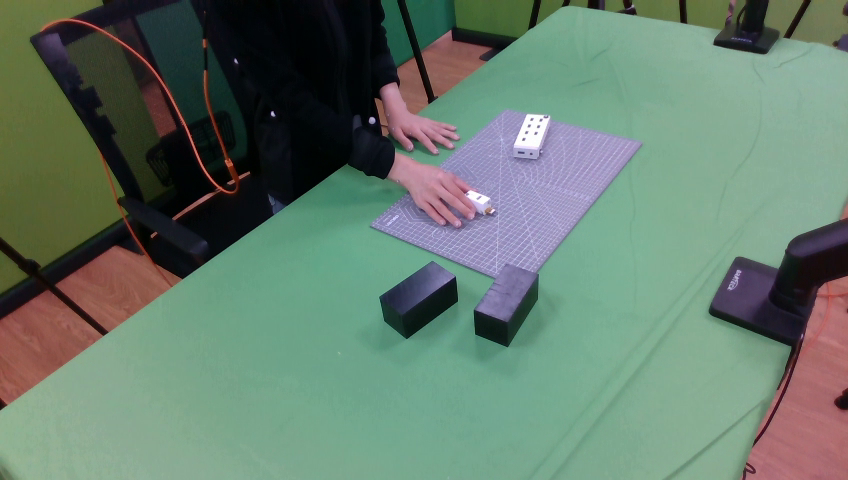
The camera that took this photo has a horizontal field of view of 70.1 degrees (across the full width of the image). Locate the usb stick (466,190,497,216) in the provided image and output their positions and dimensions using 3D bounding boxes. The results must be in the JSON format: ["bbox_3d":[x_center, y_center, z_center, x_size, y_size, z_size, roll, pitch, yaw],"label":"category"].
[{"bbox_3d":[0.099,-0.061,1.026,0.058,0.027,0.021,31,50,32],"label":"usb stick"}]

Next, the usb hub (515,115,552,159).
[{"bbox_3d":[0.213,-0.201,1.173,0.049,0.025,0.125,9,44,18],"label":"usb hub"}]
